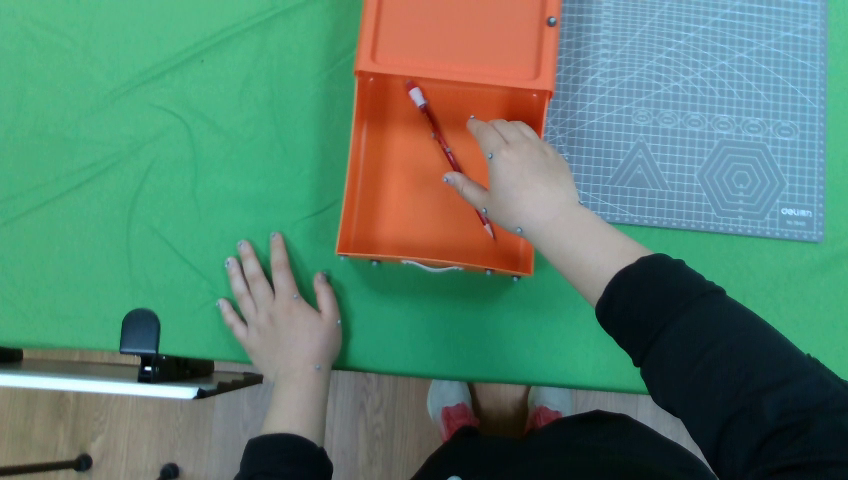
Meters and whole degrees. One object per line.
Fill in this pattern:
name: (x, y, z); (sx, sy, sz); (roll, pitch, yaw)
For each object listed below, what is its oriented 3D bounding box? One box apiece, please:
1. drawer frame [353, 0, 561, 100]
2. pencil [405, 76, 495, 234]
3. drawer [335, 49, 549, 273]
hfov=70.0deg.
drawer frame: (0.040, -0.254, 0.638); (0.201, 0.083, 0.213); (5, 83, 2)
pencil: (0.029, -0.091, 0.651); (0.012, 0.012, 0.193); (-29, 87, -2)
drawer: (0.021, -0.076, 0.622); (0.194, 0.073, 0.211); (6, 86, 2)
